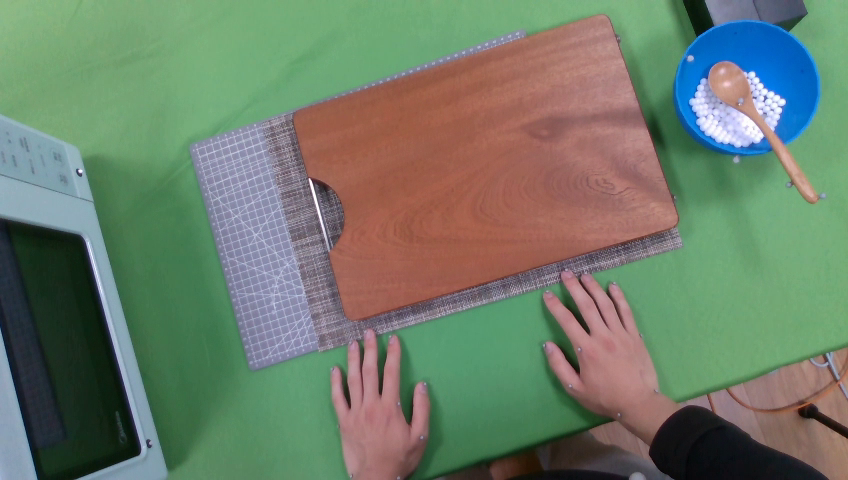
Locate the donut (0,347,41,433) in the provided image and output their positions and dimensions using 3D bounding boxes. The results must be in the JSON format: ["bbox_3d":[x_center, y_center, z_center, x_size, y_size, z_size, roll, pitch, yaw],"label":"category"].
[{"bbox_3d":[-0.480,0.167,0.670,0.099,0.048,0.099,-1,98,-10],"label":"donut"}]

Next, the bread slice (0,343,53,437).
[{"bbox_3d":[-0.508,0.184,0.702,0.132,0.019,0.105,-10,91,-6],"label":"bread slice"}]

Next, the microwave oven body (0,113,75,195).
[{"bbox_3d":[-0.538,0.117,0.646,0.326,0.261,0.440,-20,83,3],"label":"microwave oven body"}]

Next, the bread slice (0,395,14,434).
[{"bbox_3d":[-0.488,0.176,0.621,0.134,0.018,0.106,-35,84,15],"label":"bread slice"}]

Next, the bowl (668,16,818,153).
[{"bbox_3d":[0.345,-0.163,0.683,0.151,0.077,0.151,-1,84,6],"label":"bowl"}]

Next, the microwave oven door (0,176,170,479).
[{"bbox_3d":[-0.387,0.106,0.627,0.039,0.244,0.354,-20,82,3],"label":"microwave oven door"}]

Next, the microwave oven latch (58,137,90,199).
[{"bbox_3d":[-0.446,-0.087,0.757,0.030,0.029,0.079,-20,83,3],"label":"microwave oven latch"}]

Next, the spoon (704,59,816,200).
[{"bbox_3d":[0.358,-0.121,0.647,0.041,0.022,0.191,-18,59,1],"label":"spoon"}]
